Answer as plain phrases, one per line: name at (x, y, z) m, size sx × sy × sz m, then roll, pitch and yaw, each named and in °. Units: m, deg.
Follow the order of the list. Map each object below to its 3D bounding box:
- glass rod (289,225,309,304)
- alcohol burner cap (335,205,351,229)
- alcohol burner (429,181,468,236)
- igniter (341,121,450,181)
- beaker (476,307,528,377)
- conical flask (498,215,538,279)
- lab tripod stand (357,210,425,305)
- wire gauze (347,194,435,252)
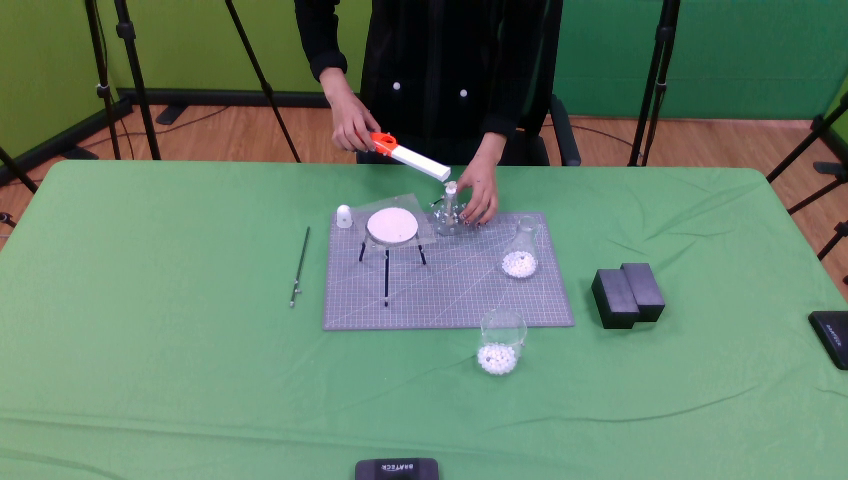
glass rod at (-0.235, 0.043, 1.149) m, size 0.008 × 0.008 × 0.198 m, roll 3°, pitch 46°, yaw -1°
alcohol burner cap at (-0.164, -0.049, 1.216) m, size 0.034 × 0.048 × 0.033 m, roll 1°, pitch 45°, yaw -1°
alcohol burner at (0.049, -0.067, 1.201) m, size 0.078 × 0.120 × 0.077 m, roll 1°, pitch 46°, yaw -1°
igniter at (-0.066, -0.184, 1.225) m, size 0.275 × 0.025 × 0.057 m, roll 28°, pitch 55°, yaw 26°
beaker at (0.122, 0.171, 0.991) m, size 0.084 × 0.101 × 0.073 m, roll -34°, pitch 56°, yaw -31°
conical flask at (0.183, 0.010, 1.132) m, size 0.075 × 0.122 × 0.075 m, roll 2°, pitch 46°, yaw -2°
lab tripod stand at (-0.060, 0.020, 1.094) m, size 0.148 × 0.132 × 0.147 m, roll 3°, pitch 44°, yaw -2°
wire gauze at (-0.058, -0.029, 1.048) m, size 0.125 × 0.011 × 0.120 m, roll -12°, pitch 48°, yaw -16°
